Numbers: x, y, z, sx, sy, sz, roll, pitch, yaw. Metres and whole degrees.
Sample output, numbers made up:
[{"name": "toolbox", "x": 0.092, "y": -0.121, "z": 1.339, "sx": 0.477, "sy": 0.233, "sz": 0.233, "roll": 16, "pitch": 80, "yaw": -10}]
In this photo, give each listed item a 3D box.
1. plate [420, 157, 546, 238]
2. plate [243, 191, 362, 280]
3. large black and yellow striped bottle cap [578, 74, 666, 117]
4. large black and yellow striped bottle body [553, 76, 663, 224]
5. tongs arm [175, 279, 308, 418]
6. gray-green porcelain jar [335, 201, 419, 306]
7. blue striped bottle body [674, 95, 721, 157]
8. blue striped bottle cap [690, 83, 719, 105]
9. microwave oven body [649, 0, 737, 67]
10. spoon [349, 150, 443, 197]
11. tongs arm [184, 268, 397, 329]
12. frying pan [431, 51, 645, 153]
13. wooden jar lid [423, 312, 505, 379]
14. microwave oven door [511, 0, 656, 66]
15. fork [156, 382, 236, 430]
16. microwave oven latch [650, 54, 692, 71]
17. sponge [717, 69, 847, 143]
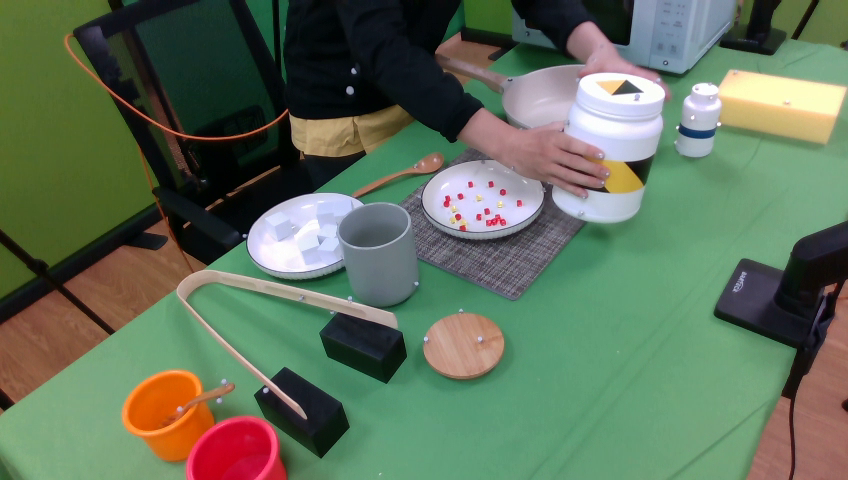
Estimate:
[{"name": "plate", "x": 0.099, "y": -0.067, "z": 1.017, "sx": 0.209, "sy": 0.038, "sz": 0.208, "roll": -4, "pitch": 40, "yaw": 4}, {"name": "plate", "x": -0.188, "y": -0.005, "z": 0.992, "sx": 0.207, "sy": 0.039, "sz": 0.206, "roll": -3, "pitch": 40, "yaw": 3}, {"name": "large black and yellow striped bottle cap", "x": 0.268, "y": -0.198, "z": 0.821, "sx": 0.115, "sy": 0.019, "sz": 0.114, "roll": 2, "pitch": 34, "yaw": -1}, {"name": "large black and yellow striped bottle body", "x": 0.265, "y": -0.130, "z": 0.871, "sx": 0.131, "sy": 0.184, "sz": 0.130, "roll": 2, "pitch": 36, "yaw": -1}, {"name": "tongs arm", "x": -0.255, "y": 0.132, "z": 0.800, "sx": 0.028, "sy": 0.028, "sz": 0.384, "roll": -41, "pitch": 40, "yaw": -23}, {"name": "gray-green porcelain jar", "x": -0.064, "y": 0.024, "z": 0.872, "sx": 0.106, "sy": 0.127, "sz": 0.105, "roll": -4, "pitch": 41, "yaw": 4}, {"name": "blue striped bottle body", "x": 0.486, "y": -0.213, "z": 1.072, "sx": 0.063, "sy": 0.121, "sz": 0.063, "roll": -5, "pitch": 40, "yaw": 4}, {"name": "blue striped bottle cap", "x": 0.481, "y": -0.251, "z": 1.038, "sx": 0.044, "sy": 0.021, "sz": 0.044, "roll": -5, "pitch": 40, "yaw": 5}, {"name": "microwave oven body", "x": 0.475, "y": -0.602, "z": 1.411, "sx": 0.438, "sy": 0.261, "sz": 0.327, "roll": 23, "pitch": 50, "yaw": 32}, {"name": "spoon", "x": -0.051, "y": -0.123, "z": 1.120, "sx": 0.194, "sy": 0.022, "sz": 0.041, "roll": -23, "pitch": 61, "yaw": -18}, {"name": "tongs arm", "x": -0.203, "y": 0.084, "z": 0.847, "sx": 0.382, "sy": 0.027, "sz": 0.051, "roll": 11, "pitch": 44, "yaw": 35}, {"name": "frying pan", "x": 0.216, "y": -0.303, "z": 1.223, "sx": 0.484, "sy": 0.103, "sz": 0.308, "roll": 29, "pitch": 50, "yaw": 24}, {"name": "wooden jar lid", "x": 0.053, "y": 0.142, "z": 0.800, "sx": 0.108, "sy": 0.021, "sz": 0.108, "roll": -5, "pitch": 39, "yaw": 4}, {"name": "microwave oven door", "x": 0.351, "y": -0.540, "z": 1.349, "sx": 0.353, "sy": 0.245, "sz": 0.039, "roll": 24, "pitch": 50, "yaw": 31}, {"name": "fork", "x": -0.262, "y": 0.189, "z": 0.690, "sx": 0.018, "sy": 0.206, "sz": 0.028, "roll": 49, "pitch": 43, "yaw": -7}, {"name": "microwave oven latch", "x": 0.531, "y": -0.386, "z": 1.301, "sx": 0.078, "sy": 0.029, "sz": 0.030, "roll": 25, "pitch": 51, "yaw": 33}, {"name": "sponge", "x": 0.663, "y": -0.256, "z": 1.141, "sx": 0.205, "sy": 0.061, "sz": 0.118, "roll": 19, "pitch": 47, "yaw": 28}]
